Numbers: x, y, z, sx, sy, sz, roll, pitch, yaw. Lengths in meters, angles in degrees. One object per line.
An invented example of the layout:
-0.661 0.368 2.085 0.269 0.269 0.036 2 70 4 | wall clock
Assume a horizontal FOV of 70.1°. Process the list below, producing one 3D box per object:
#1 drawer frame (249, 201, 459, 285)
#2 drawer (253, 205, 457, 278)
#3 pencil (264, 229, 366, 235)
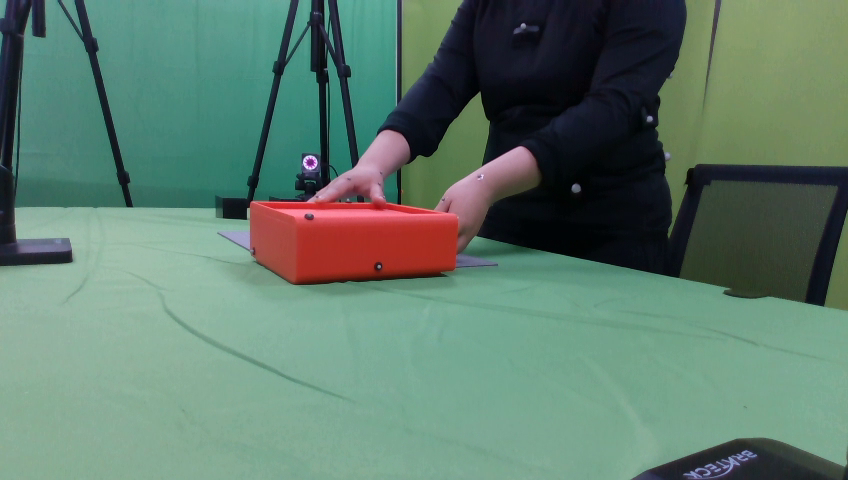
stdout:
-0.096 -0.005 0.784 0.215 0.082 0.200 -3 10 -31 | drawer frame
-0.095 -0.004 0.788 0.213 0.073 0.193 -3 9 -30 | drawer
-0.195 -0.013 1.109 0.195 0.012 0.012 1 7 -28 | pencil
